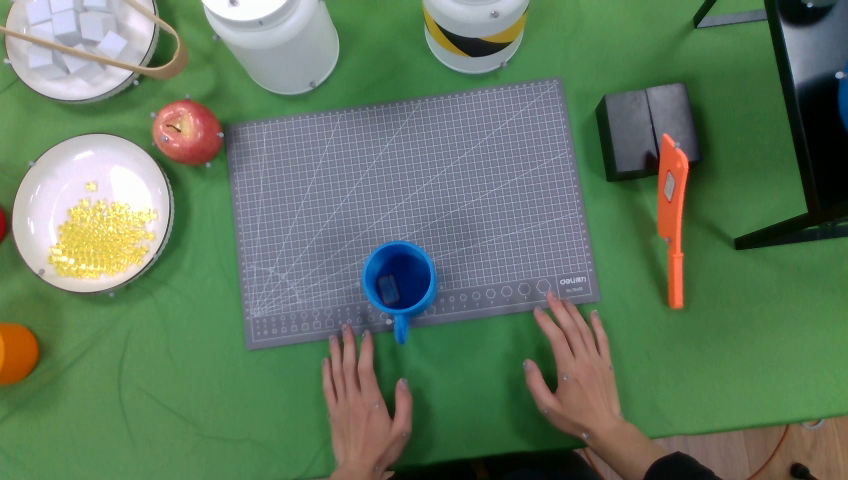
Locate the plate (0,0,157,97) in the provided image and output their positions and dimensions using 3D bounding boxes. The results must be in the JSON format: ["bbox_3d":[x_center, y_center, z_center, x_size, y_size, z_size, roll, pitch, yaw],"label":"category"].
[{"bbox_3d":[-0.456,-0.288,0.812,0.207,0.039,0.207,0,83,2],"label":"plate"}]

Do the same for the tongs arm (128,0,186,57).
[{"bbox_3d":[-0.457,-0.353,0.791,0.386,0.028,0.028,34,78,8],"label":"tongs arm"}]

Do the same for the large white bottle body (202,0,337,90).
[{"bbox_3d":[-0.184,-0.274,0.726,0.130,0.185,0.130,0,82,3],"label":"large white bottle body"}]

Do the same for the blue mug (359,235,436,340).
[{"bbox_3d":[-0.029,0.059,0.716,0.082,0.106,0.116,0,83,2],"label":"blue mug"}]

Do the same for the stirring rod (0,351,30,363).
[{"bbox_3d":[-0.566,0.139,0.708,0.177,0.006,0.014,7,68,-38],"label":"stirring rod"}]

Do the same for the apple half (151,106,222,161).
[{"bbox_3d":[-0.295,-0.128,0.769,0.081,0.075,0.053,-22,86,-4],"label":"apple half"}]

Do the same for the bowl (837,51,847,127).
[{"bbox_3d":[0.447,-0.135,0.558,0.151,0.077,0.151,0,83,2],"label":"bowl"}]

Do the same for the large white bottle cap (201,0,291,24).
[{"bbox_3d":[-0.189,-0.286,0.642,0.115,0.018,0.114,0,82,3],"label":"large white bottle cap"}]

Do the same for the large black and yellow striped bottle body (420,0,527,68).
[{"bbox_3d":[0.059,-0.301,0.721,0.131,0.184,0.130,0,82,3],"label":"large black and yellow striped bottle body"}]

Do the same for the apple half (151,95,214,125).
[{"bbox_3d":[-0.310,-0.164,0.772,0.081,0.081,0.033,-22,87,0],"label":"apple half"}]

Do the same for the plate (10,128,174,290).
[{"bbox_3d":[-0.421,-0.039,0.779,0.209,0.038,0.208,0,83,3],"label":"plate"}]

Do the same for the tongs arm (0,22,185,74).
[{"bbox_3d":[-0.494,-0.279,0.780,0.384,0.026,0.050,20,80,7],"label":"tongs arm"}]

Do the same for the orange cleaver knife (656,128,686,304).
[{"bbox_3d":[0.293,-0.026,0.726,0.012,0.076,0.213,-8,113,1],"label":"orange cleaver knife"}]

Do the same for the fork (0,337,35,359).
[{"bbox_3d":[-0.577,0.120,0.709,0.209,0.018,0.028,16,80,-39],"label":"fork"}]
